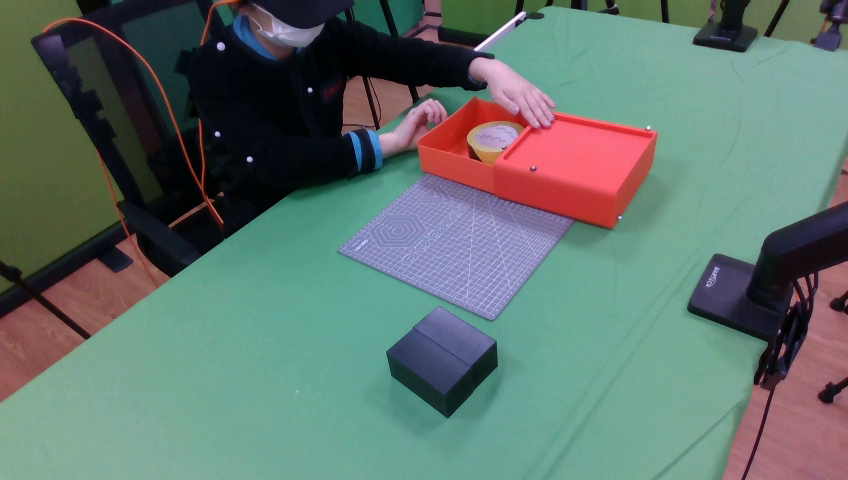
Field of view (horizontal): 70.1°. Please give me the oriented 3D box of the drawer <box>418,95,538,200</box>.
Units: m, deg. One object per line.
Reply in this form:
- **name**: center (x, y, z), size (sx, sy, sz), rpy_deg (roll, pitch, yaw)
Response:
- **drawer**: center (0.130, -0.174, 1.110), size (0.210, 0.073, 0.195), rpy_deg (23, 48, 31)

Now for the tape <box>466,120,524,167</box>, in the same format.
- **tape**: center (0.136, -0.170, 1.111), size (0.117, 0.053, 0.116), rpy_deg (-6, 39, 5)

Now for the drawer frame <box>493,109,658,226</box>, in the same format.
- **drawer frame**: center (0.258, -0.131, 1.030), size (0.212, 0.083, 0.202), rpy_deg (18, 46, 27)
